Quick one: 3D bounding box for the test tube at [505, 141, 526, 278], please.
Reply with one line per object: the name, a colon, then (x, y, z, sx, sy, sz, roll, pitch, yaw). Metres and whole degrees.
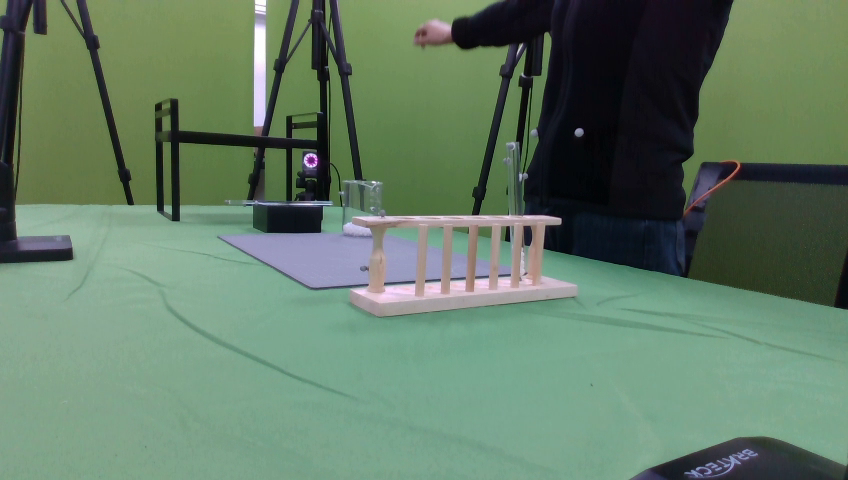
test tube: (0.101, -0.032, 0.664, 0.017, 0.150, 0.017, -5, 8, 1)

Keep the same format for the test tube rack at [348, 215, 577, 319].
test tube rack: (0.048, 0.021, 0.619, 0.244, 0.085, 0.066, -2, 9, -31)

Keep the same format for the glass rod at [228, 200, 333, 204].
glass rod: (-0.268, -0.071, 1.143, 0.201, 0.008, 0.008, -1, 8, -29)

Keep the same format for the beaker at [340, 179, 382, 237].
beaker: (-0.113, -0.058, 1.094, 0.074, 0.100, 0.083, -2, 10, -29)
